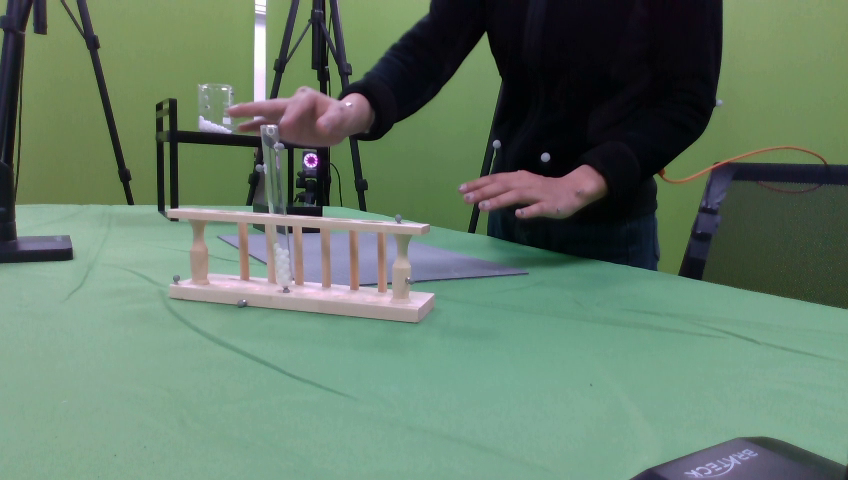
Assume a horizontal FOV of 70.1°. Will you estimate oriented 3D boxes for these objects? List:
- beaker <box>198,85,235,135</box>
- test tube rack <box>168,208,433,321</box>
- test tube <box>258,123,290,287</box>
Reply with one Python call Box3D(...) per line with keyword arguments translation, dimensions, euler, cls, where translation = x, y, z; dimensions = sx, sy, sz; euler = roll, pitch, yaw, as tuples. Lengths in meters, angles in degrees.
Box3D(translation=(-0.439, -0.273, 1.275), dimensions=(0.074, 0.100, 0.084), euler=(5, 8, 19), cls="beaker")
Box3D(translation=(-0.116, 0.017, 0.574), dimensions=(0.242, 0.085, 0.067), euler=(4, 8, 13), cls="test tube rack")
Box3D(translation=(-0.138, -0.031, 0.555), dimensions=(0.017, 0.150, 0.017), euler=(-4, 7, 1), cls="test tube")
